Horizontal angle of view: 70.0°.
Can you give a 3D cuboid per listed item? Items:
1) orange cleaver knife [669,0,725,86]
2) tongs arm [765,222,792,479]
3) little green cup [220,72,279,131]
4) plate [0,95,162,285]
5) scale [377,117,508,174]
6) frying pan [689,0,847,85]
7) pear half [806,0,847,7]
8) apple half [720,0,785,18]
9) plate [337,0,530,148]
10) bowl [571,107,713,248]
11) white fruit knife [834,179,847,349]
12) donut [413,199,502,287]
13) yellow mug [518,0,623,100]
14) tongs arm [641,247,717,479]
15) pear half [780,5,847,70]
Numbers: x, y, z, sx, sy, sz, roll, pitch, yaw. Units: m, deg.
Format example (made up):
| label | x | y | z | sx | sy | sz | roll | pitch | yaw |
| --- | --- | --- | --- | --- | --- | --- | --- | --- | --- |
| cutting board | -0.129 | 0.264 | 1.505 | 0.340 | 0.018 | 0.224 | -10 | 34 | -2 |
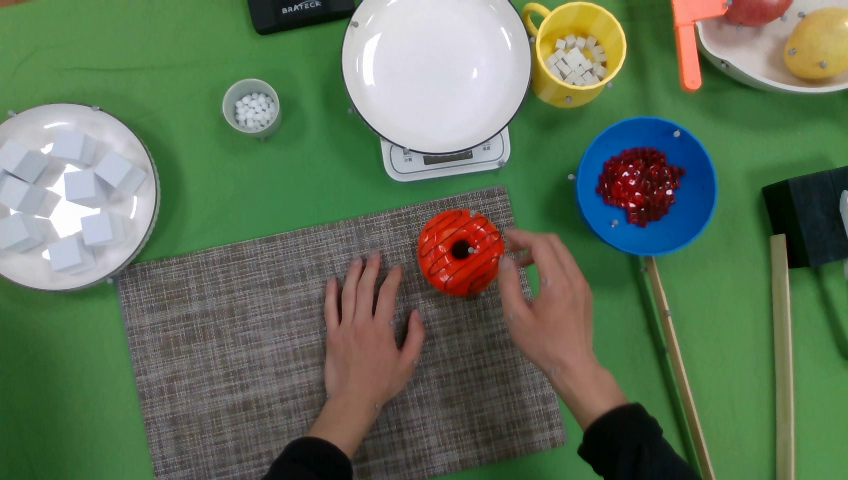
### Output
| label | x | y | z | sx | sy | sz | roll | pitch | yaw |
| --- | --- | --- | --- | --- | --- | --- | --- | --- | --- |
| orange cleaver knife | 0.291 | -0.276 | 0.663 | 0.077 | 0.012 | 0.211 | -8 | 87 | -1 |
| tongs arm | 0.401 | 0.172 | 0.693 | 0.028 | 0.027 | 0.386 | 2 | 86 | -11 |
| little green cup | -0.194 | -0.153 | 0.682 | 0.061 | 0.038 | 0.061 | 0 | 85 | -2 |
| plate | -0.391 | -0.054 | 0.665 | 0.208 | 0.039 | 0.207 | 0 | 86 | -3 |
| scale | 0.012 | -0.184 | 0.697 | 0.149 | 0.031 | 0.200 | -9 | 87 | -3 |
| frying pan | 0.487 | -0.236 | 0.686 | 0.307 | 0.103 | 0.486 | -40 | 80 | -4 |
| pear half | 0.466 | -0.256 | 0.689 | 0.070 | 0.088 | 0.031 | 18 | 84 | 5 |
| apple half | 0.373 | -0.286 | 0.695 | 0.081 | 0.074 | 0.053 | 29 | 88 | -3 |
| plate | 0.011 | -0.201 | 0.665 | 0.209 | 0.038 | 0.208 | 0 | 86 | -3 |
| bowl | 0.230 | -0.063 | 0.675 | 0.151 | 0.077 | 0.151 | 0 | 86 | -3 |
| white fruit knife | 0.476 | 0.033 | 0.679 | 0.016 | 0.027 | 0.208 | -15 | 101 | -3 |
| donut | 0.037 | 0.003 | 0.674 | 0.099 | 0.048 | 0.099 | 0 | 86 | 0 |
| yellow mug | 0.155 | -0.229 | 0.689 | 0.131 | 0.064 | 0.100 | 44 | 86 | 2 |
| tongs arm | 0.315 | 0.183 | 0.683 | 0.051 | 0.026 | 0.384 | -13 | 88 | -9 |
| pear half | 0.449 | -0.226 | 0.677 | 0.076 | 0.110 | 0.056 | 23 | 85 | 3 |
